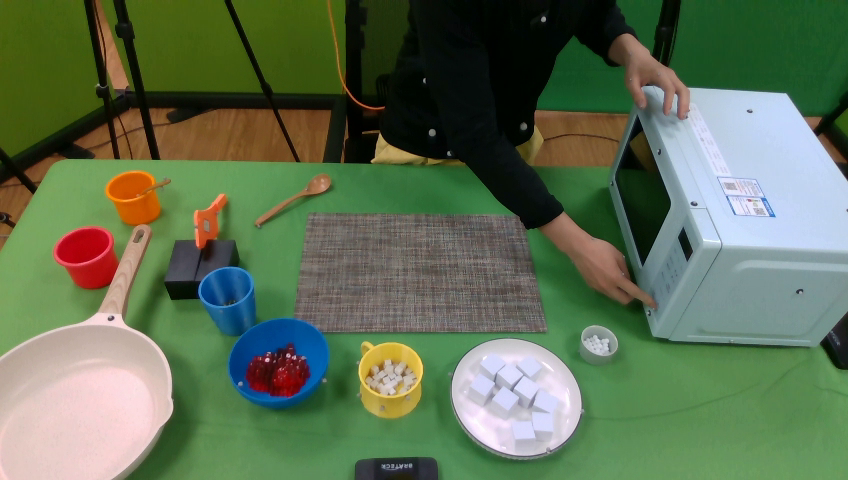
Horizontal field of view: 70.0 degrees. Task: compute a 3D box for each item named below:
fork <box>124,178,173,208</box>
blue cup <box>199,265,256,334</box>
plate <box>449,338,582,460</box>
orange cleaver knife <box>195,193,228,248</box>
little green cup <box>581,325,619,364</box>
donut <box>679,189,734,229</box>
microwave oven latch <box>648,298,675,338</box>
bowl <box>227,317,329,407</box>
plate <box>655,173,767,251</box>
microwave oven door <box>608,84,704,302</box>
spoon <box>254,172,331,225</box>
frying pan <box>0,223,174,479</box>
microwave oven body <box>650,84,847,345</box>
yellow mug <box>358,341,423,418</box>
[{"bbox_3d":[-0.525,-0.090,1.154,0.207,0.019,0.028,-17,27,45],"label":"fork"},{"bbox_3d":[-0.321,0.107,1.014,0.093,0.101,0.092,2,48,-2],"label":"blue cup"},{"bbox_3d":[0.141,0.251,0.955,0.208,0.039,0.206,2,46,-2],"label":"plate"},{"bbox_3d":[-0.406,-0.041,1.163,0.012,0.077,0.210,0,18,-3],"label":"orange cleaver knife"},{"bbox_3d":[0.297,0.180,1.031,0.061,0.039,0.061,3,43,-2],"label":"little green cup"},{"bbox_3d":[0.546,-0.062,1.175,0.099,0.048,0.098,-1,44,1],"label":"donut"},{"bbox_3d":[0.413,0.133,1.060,0.030,0.029,0.078,5,46,2],"label":"microwave oven latch"},{"bbox_3d":[-0.222,0.203,0.947,0.151,0.077,0.150,2,46,-2],"label":"bowl"},{"bbox_3d":[0.555,-0.052,1.187,0.209,0.038,0.208,2,46,-2],"label":"plate"},{"bbox_3d":[0.425,-0.096,1.138,0.039,0.245,0.353,2,47,-1],"label":"microwave oven door"},{"bbox_3d":[-0.272,-0.087,1.257,0.041,0.022,0.193,45,57,13],"label":"spoon"},{"bbox_3d":[-0.505,0.169,0.941,0.307,0.103,0.485,5,54,-1],"label":"frying pan"},{"bbox_3d":[0.568,-0.054,1.116,0.326,0.261,0.439,2,46,-1],"label":"microwave oven body"},{"bbox_3d":[-0.063,0.210,0.961,0.100,0.064,0.130,-29,54,-28],"label":"yellow mug"}]
